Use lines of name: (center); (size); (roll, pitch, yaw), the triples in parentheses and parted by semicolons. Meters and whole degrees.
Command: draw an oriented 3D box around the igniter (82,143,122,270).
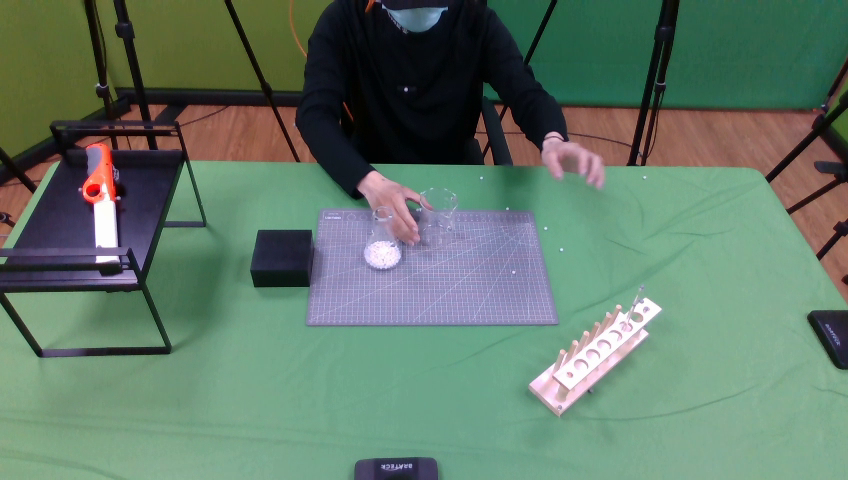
igniter: (-0.509, -0.063, 0.961); (0.057, 0.025, 0.274); (-14, 53, -18)

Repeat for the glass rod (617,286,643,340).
glass rod: (0.324, 0.128, 0.964); (0.008, 0.201, 0.008); (-2, 54, 3)

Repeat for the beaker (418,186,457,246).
beaker: (0.026, -0.042, 1.183); (0.074, 0.101, 0.083); (-19, 51, -20)

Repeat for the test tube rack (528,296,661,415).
test tube rack: (0.284, 0.178, 1.005); (0.242, 0.085, 0.066); (-31, 55, -29)

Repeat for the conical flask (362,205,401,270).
conical flask: (-0.078, -0.008, 1.127); (0.075, 0.122, 0.075); (2, 46, -2)
